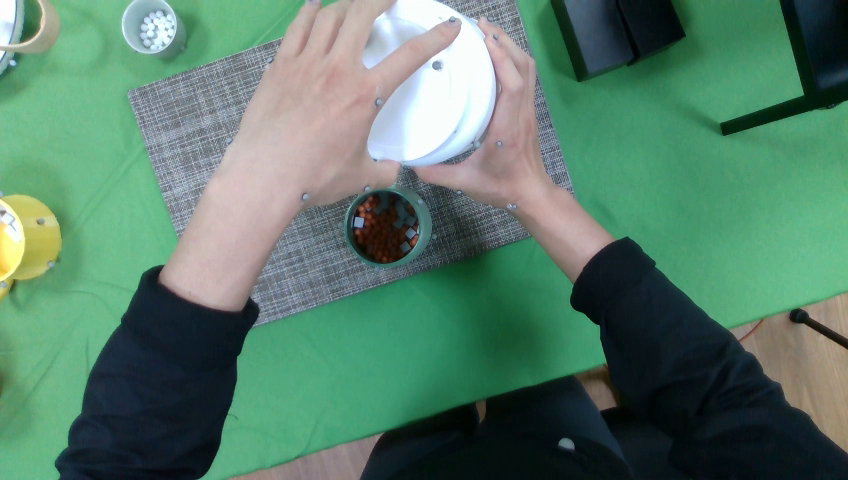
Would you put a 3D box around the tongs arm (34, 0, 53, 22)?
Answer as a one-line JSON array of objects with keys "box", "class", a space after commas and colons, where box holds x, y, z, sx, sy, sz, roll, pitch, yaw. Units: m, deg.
[{"box": [-0.569, -0.324, 0.640, 0.387, 0.028, 0.028, 24, 88, 1], "class": "tongs arm"}]

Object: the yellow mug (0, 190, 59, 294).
[{"box": [-0.483, 0.009, 0.680, 0.100, 0.064, 0.131, 14, 95, 0], "class": "yellow mug"}]

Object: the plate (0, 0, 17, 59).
[{"box": [-0.553, -0.265, 0.675, 0.208, 0.039, 0.208, 0, 95, 1], "class": "plate"}]

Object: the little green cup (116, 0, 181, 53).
[{"box": [-0.302, -0.238, 0.672, 0.061, 0.038, 0.061, 0, 95, 0], "class": "little green cup"}]

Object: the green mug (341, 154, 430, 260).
[{"box": [-0.042, -0.039, 0.645, 0.092, 0.105, 0.125, -1, 94, 2], "class": "green mug"}]

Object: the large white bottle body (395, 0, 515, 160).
[{"box": [0.001, -0.141, 0.528, 0.130, 0.184, 0.131, 5, 106, 17], "class": "large white bottle body"}]

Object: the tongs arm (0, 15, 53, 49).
[{"box": [-0.591, -0.244, 0.645, 0.385, 0.026, 0.051, 11, 91, 2], "class": "tongs arm"}]

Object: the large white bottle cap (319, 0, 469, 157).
[{"box": [-0.023, -0.119, 0.451, 0.114, 0.018, 0.115, 5, 107, 16], "class": "large white bottle cap"}]
